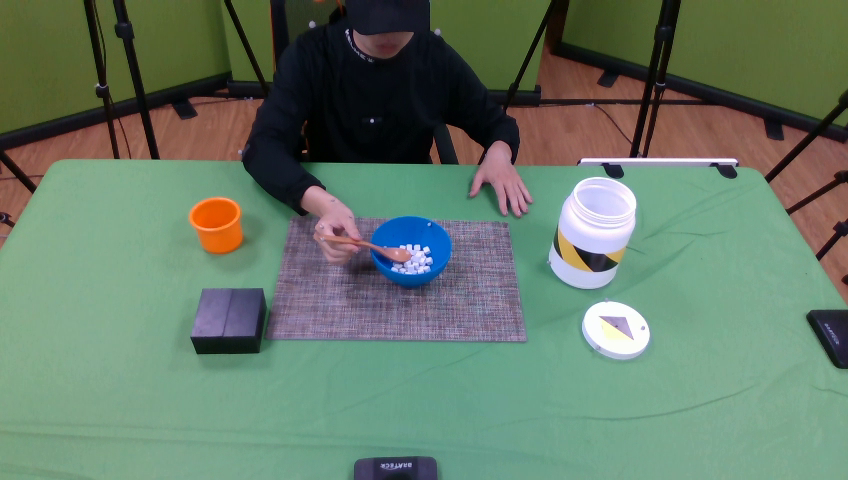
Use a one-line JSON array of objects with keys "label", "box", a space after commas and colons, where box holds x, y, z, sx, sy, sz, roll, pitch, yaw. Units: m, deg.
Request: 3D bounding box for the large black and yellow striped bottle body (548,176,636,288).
[{"label": "large black and yellow striped bottle body", "box": [0.310, -0.014, 1.123, 0.131, 0.185, 0.130, 2, 46, -2]}]

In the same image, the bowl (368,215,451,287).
[{"label": "bowl", "box": [-0.028, 0.033, 1.119, 0.151, 0.077, 0.150, 2, 46, -2]}]

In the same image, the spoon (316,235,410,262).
[{"label": "spoon", "box": [-0.104, 0.010, 1.071, 0.195, 0.021, 0.041, 17, 30, -39]}]

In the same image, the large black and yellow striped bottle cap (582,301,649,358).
[{"label": "large black and yellow striped bottle cap", "box": [0.340, 0.157, 1.077, 0.115, 0.019, 0.114, 1, 47, -1]}]
